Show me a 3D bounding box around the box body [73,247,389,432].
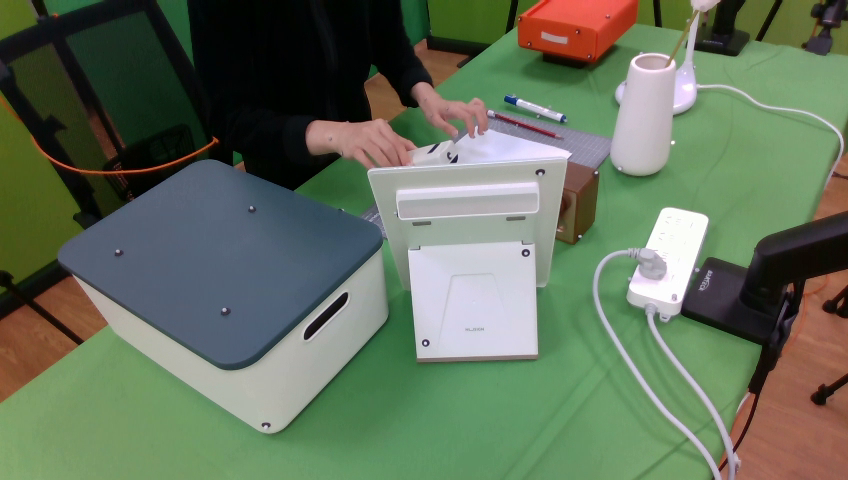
[{"bbox_3d":[-0.255,0.065,0.827,0.361,0.161,0.255,21,48,29],"label":"box body"}]

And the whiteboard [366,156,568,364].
[{"bbox_3d":[0.059,0.050,0.738,0.217,0.307,0.143,-2,60,6],"label":"whiteboard"}]

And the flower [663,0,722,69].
[{"bbox_3d":[0.379,-0.261,0.965,0.044,0.362,0.038,20,53,5],"label":"flower"}]

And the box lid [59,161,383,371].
[{"bbox_3d":[-0.262,0.010,0.777,0.369,0.015,0.264,21,48,29],"label":"box lid"}]

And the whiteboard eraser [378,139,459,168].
[{"bbox_3d":[-0.008,-0.105,0.846,0.112,0.042,0.055,-9,32,33],"label":"whiteboard eraser"}]

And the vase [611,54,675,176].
[{"bbox_3d":[0.377,-0.209,1.031,0.098,0.201,0.097,-3,40,3],"label":"vase"}]

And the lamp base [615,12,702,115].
[{"bbox_3d":[0.484,-0.363,1.211,0.180,0.181,0.159,-15,41,-14],"label":"lamp base"}]

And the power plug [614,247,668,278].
[{"bbox_3d":[0.306,0.031,0.851,0.072,0.053,0.035,24,49,33],"label":"power plug"}]

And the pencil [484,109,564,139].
[{"bbox_3d":[0.201,-0.235,1.229,0.192,0.012,0.012,28,51,32],"label":"pencil"}]

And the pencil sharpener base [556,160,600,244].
[{"bbox_3d":[0.228,-0.057,0.945,0.061,0.107,0.077,24,50,31],"label":"pencil sharpener base"}]

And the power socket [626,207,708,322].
[{"bbox_3d":[0.359,0.025,0.886,0.072,0.033,0.227,16,46,26],"label":"power socket"}]

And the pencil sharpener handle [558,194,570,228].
[{"bbox_3d":[0.195,-0.038,0.908,0.035,0.068,0.031,24,50,30],"label":"pencil sharpener handle"}]

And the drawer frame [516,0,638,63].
[{"bbox_3d":[0.355,-0.508,1.410,0.200,0.083,0.214,23,51,32],"label":"drawer frame"}]

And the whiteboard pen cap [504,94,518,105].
[{"bbox_3d":[0.190,-0.299,1.292,0.033,0.018,0.018,30,52,28],"label":"whiteboard pen cap"}]

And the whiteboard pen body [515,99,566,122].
[{"bbox_3d":[0.234,-0.274,1.262,0.139,0.017,0.017,28,51,29],"label":"whiteboard pen body"}]

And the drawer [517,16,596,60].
[{"bbox_3d":[0.352,-0.506,1.405,0.193,0.073,0.212,23,49,32],"label":"drawer"}]
